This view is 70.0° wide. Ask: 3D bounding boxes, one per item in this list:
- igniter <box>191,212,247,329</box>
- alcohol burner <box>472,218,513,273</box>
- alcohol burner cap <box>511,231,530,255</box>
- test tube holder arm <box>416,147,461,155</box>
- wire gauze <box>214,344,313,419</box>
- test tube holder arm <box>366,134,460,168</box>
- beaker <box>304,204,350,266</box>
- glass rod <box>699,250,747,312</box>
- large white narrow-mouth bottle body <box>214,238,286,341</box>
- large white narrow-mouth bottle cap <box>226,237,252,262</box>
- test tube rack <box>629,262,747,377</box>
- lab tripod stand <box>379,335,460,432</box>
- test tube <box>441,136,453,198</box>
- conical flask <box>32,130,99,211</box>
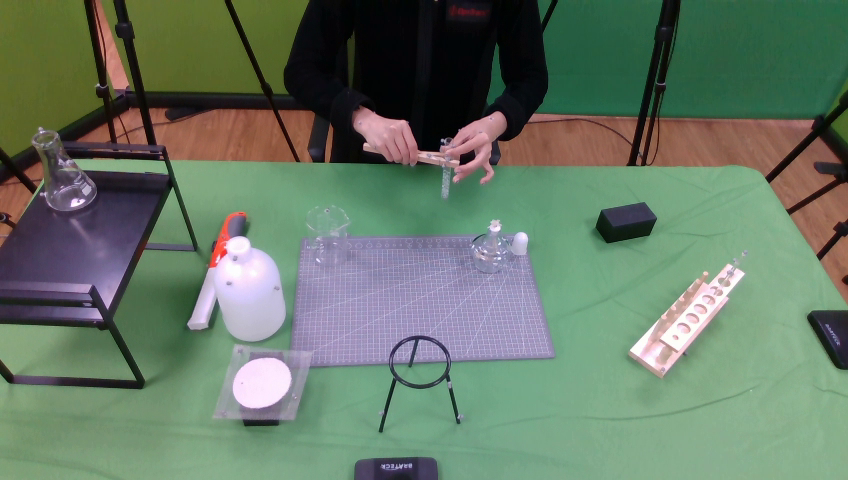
[{"bbox_3d":[-0.376,0.047,1.121,0.057,0.025,0.275,-4,46,6],"label":"igniter"},{"bbox_3d":[0.128,0.005,1.132,0.078,0.120,0.077,0,47,0],"label":"alcohol burner"},{"bbox_3d":[0.191,0.003,1.187,0.034,0.048,0.033,3,44,-3],"label":"alcohol burner cap"},{"bbox_3d":[0.023,-0.159,1.101,0.088,0.015,0.010,-3,69,-1],"label":"test tube holder arm"},{"bbox_3d":[-0.241,0.213,0.915,0.121,0.011,0.124,5,46,1],"label":"wire gauze"},{"bbox_3d":[-0.021,-0.162,1.103,0.178,0.015,0.013,17,68,7],"label":"test tube holder arm"},{"bbox_3d":[-0.178,-0.006,1.132,0.084,0.101,0.073,4,46,-1],"label":"beaker"},{"bbox_3d":[0.500,0.074,1.021,0.008,0.201,0.008,0,55,1],"label":"glass rod"},{"bbox_3d":[-0.285,0.073,0.986,0.102,0.195,0.101,2,46,-2],"label":"large white narrow-mouth bottle body"},{"bbox_3d":[-0.282,0.014,0.923,0.038,0.024,0.037,2,46,-2],"label":"large white narrow-mouth bottle cap"},{"bbox_3d":[0.464,0.126,1.061,0.242,0.085,0.066,-34,56,-30],"label":"test tube rack"},{"bbox_3d":[-0.011,0.214,0.911,0.148,0.132,0.147,1,45,0],"label":"lab tripod stand"},{"bbox_3d":[0.043,-0.130,1.119,0.017,0.151,0.017,1,51,-1],"label":"test tube"},{"bbox_3d":[-0.565,-0.110,0.944,0.075,0.122,0.075,2,46,-2],"label":"conical flask"}]
